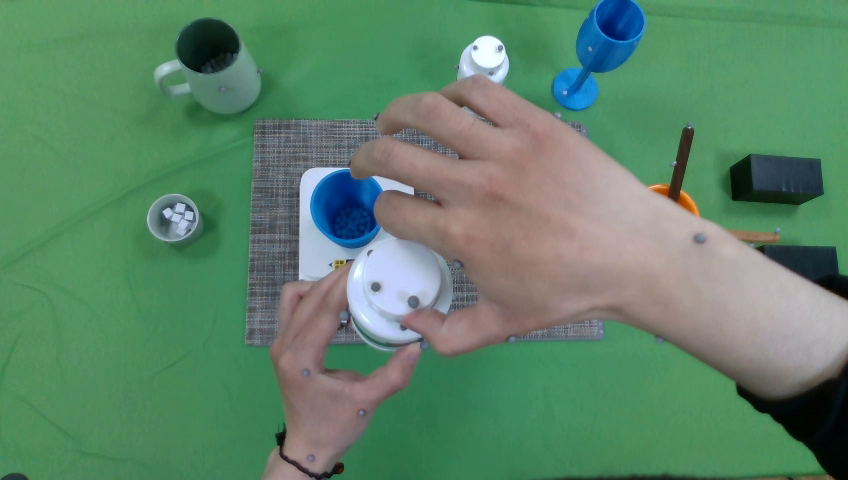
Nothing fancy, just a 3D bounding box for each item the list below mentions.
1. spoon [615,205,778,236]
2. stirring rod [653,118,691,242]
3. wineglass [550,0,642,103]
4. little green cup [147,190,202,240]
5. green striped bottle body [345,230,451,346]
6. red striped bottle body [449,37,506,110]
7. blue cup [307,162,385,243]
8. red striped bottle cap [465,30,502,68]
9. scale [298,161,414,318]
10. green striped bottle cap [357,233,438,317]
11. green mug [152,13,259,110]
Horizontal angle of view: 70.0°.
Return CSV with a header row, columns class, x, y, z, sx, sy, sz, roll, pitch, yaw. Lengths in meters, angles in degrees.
class,x,y,z,sx,sy,sz,roll,pitch,yaw
spoon,0.331,-0.019,0.754,0.022,0.192,0.041,19,81,-45
stirring rod,0.311,-0.070,0.763,0.014,0.177,0.006,5,37,10
wineglass,0.216,-0.244,0.780,0.074,0.173,0.073,1,77,-3
little green cup,-0.311,-0.029,0.763,0.061,0.039,0.061,1,77,-5
green striped bottle body,-0.018,0.032,0.386,0.063,0.119,0.063,1,76,-5
red striped bottle body,0.070,-0.222,0.792,0.063,0.120,0.062,1,78,-4
blue cup,-0.089,-0.036,0.714,0.093,0.100,0.092,1,80,-4
red striped bottle cap,0.073,-0.234,0.739,0.044,0.018,0.044,1,75,-3
scale,-0.087,-0.003,0.775,0.149,0.031,0.200,-2,79,-4
green striped bottle cap,-0.014,0.019,0.331,0.044,0.020,0.044,2,70,-6
green mug,-0.281,-0.220,0.772,0.125,0.105,0.092,-22,81,-8
